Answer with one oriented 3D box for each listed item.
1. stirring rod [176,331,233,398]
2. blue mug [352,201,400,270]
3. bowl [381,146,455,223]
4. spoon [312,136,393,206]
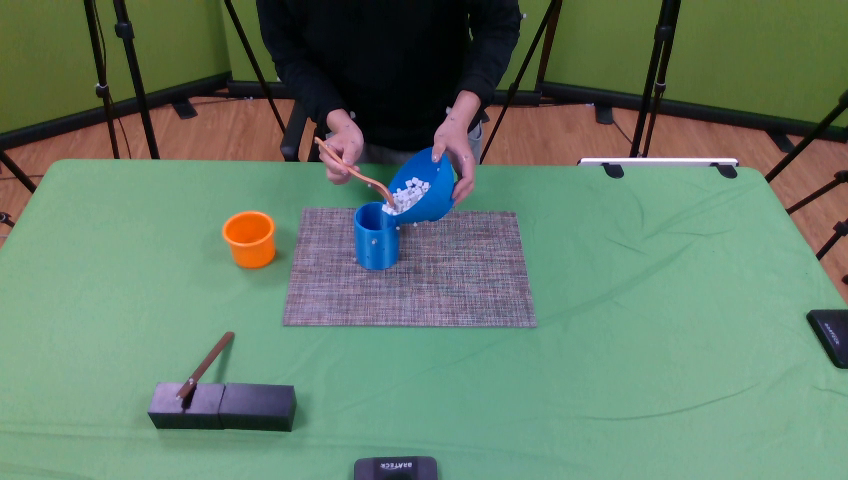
[{"bbox_3d":[-0.342,0.192,0.955,0.014,0.006,0.175,3,24,7],"label":"stirring rod"},{"bbox_3d":[-0.082,-0.017,1.144,0.082,0.106,0.116,29,51,22],"label":"blue mug"},{"bbox_3d":[0.003,-0.085,1.081,0.077,0.151,0.150,37,37,-30],"label":"bowl"},{"bbox_3d":[-0.128,-0.125,1.079,0.193,0.042,0.021,36,79,7],"label":"spoon"}]
